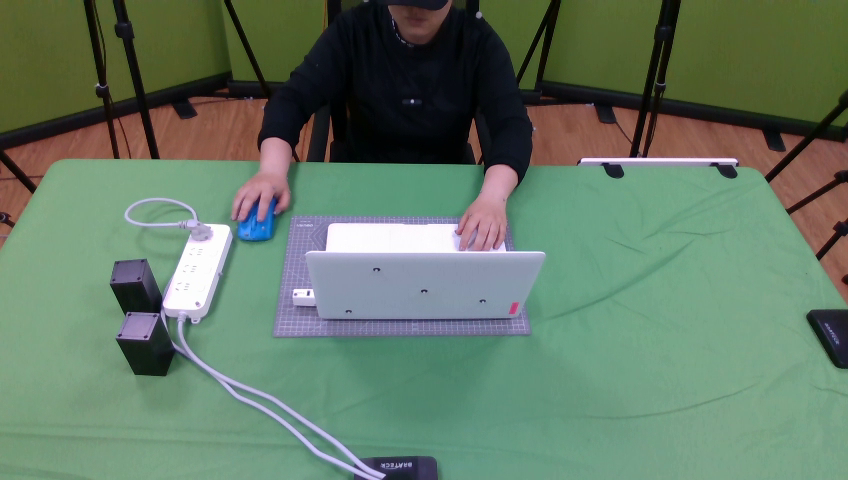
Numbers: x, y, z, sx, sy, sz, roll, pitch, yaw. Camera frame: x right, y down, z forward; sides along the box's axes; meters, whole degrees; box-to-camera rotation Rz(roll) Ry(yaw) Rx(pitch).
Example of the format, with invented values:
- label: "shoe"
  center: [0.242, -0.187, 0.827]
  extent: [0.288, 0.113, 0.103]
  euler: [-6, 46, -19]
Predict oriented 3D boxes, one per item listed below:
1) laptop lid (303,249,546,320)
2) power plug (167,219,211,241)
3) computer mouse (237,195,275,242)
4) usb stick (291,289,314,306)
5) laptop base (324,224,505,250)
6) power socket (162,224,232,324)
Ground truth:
- label: "laptop lid"
  center: [-0.003, 0.077, 0.962]
  extent: [0.357, 0.242, 0.013]
  euler: [1, 58, -5]
- label: "power plug"
  center: [-0.438, -0.017, 1.143]
  extent: [0.072, 0.053, 0.035]
  euler: [11, 44, 6]
- label: "computer mouse"
  center: [-0.334, -0.047, 1.207]
  extent: [0.063, 0.041, 0.116]
  euler: [3, 50, -5]
- label: "usb stick"
  center: [-0.203, 0.102, 1.066]
  extent: [0.059, 0.027, 0.021]
  euler: [4, 44, -5]
- label: "laptop base"
  center: [-0.014, 0.055, 1.144]
  extent: [0.355, 0.023, 0.234]
  euler: [0, 42, -4]
- label: "power socket"
  center: [-0.411, 0.052, 1.106]
  extent: [0.072, 0.033, 0.225]
  euler: [4, 46, -1]
